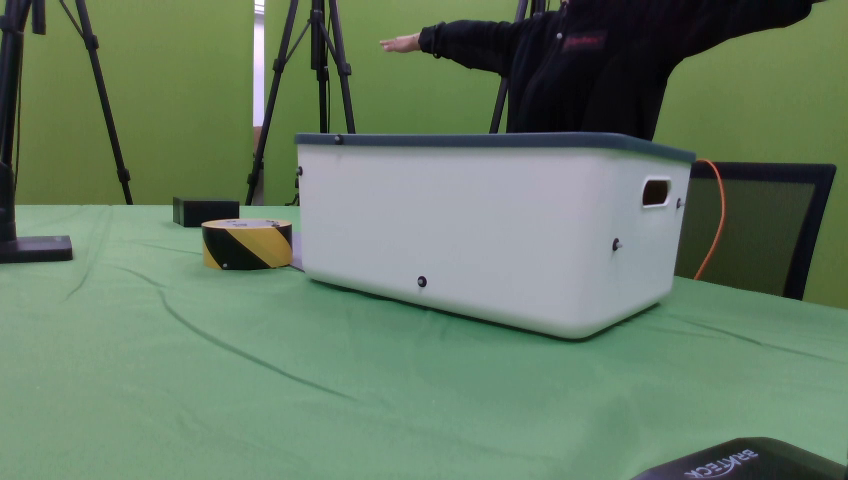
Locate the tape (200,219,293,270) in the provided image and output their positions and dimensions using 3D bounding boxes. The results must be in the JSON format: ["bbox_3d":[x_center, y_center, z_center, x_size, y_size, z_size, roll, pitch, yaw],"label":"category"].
[{"bbox_3d":[-0.228,0.003,0.778,0.117,0.052,0.117,1,8,0],"label":"tape"}]

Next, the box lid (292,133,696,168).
[{"bbox_3d":[0.068,-0.094,0.645,0.369,0.015,0.265,9,8,37],"label":"box lid"}]

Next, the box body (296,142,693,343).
[{"bbox_3d":[0.065,-0.020,0.653,0.362,0.160,0.255,9,9,37],"label":"box body"}]
